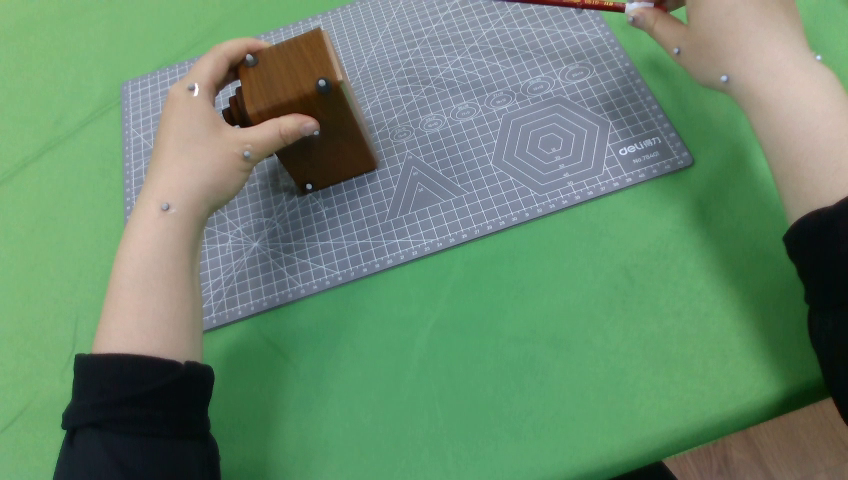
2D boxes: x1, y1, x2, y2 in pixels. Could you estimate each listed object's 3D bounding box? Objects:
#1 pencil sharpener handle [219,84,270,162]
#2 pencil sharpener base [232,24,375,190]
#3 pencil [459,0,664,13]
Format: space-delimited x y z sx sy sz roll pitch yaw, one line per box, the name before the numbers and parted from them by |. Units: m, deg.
pencil sharpener handle | -0.141 -0.084 0.458 0.030 0.068 0.035 -21 59 1
pencil sharpener base | -0.091 -0.097 0.468 0.077 0.108 0.061 -21 61 1
pencil | 0.085 -0.188 0.472 0.193 0.012 0.012 10 65 18
